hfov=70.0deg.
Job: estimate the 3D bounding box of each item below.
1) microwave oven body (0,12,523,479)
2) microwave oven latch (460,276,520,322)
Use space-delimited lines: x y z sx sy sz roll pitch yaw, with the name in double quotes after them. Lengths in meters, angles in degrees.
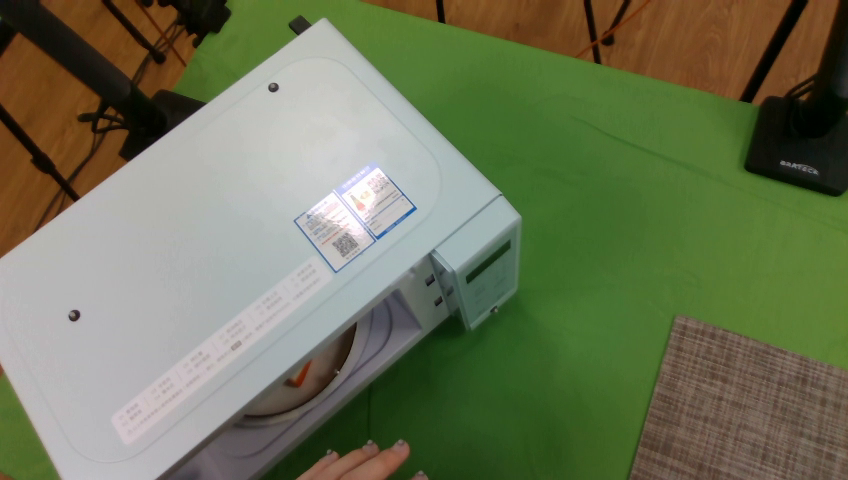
-0.163 0.038 0.661 0.441 0.262 0.323 -40 71 -7 "microwave oven body"
0.079 0.062 0.725 0.079 0.030 0.030 -38 70 -6 "microwave oven latch"
